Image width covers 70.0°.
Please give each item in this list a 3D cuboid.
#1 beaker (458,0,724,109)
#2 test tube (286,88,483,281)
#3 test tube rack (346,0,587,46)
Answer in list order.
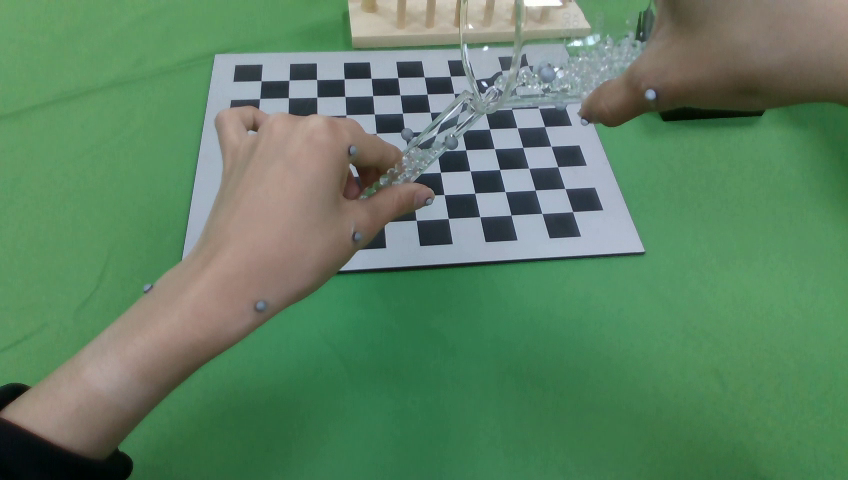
[{"bbox_3d":[0.073,-0.098,0.276,0.100,0.084,0.073,-6,55,-13],"label":"beaker"},{"bbox_3d":[-0.027,-0.025,0.325,0.017,0.150,0.017,38,27,-22],"label":"test tube"},{"bbox_3d":[0.045,-0.252,0.600,0.243,0.086,0.066,-5,53,-7],"label":"test tube rack"}]
